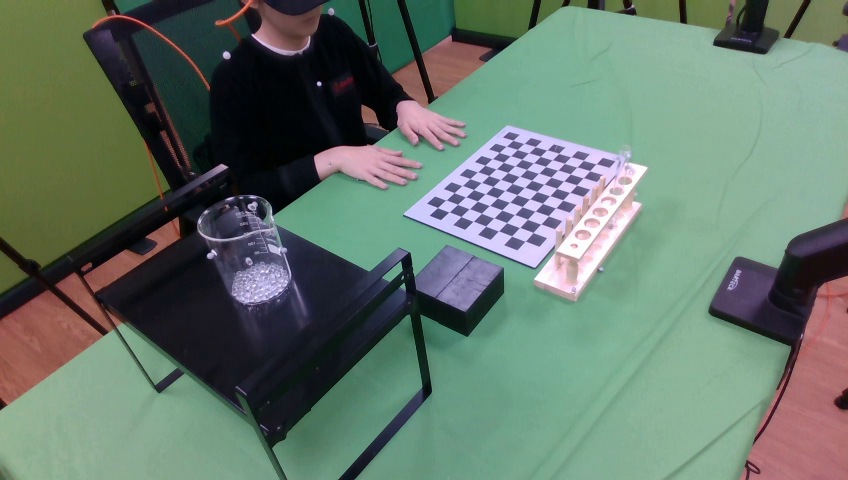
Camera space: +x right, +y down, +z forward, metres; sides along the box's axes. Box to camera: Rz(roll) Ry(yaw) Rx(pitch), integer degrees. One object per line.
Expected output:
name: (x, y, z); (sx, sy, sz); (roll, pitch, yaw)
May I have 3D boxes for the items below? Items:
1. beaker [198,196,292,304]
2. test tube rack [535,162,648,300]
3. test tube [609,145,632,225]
beaker: (-0.185, 0.014, 0.651); (0.083, 0.101, 0.074); (9, 44, 18)
test tube rack: (0.257, -0.024, 0.916); (0.066, 0.085, 0.243); (22, 49, 30)
test tube: (0.290, -0.078, 0.897); (0.017, 0.151, 0.017); (-4, 46, 5)
